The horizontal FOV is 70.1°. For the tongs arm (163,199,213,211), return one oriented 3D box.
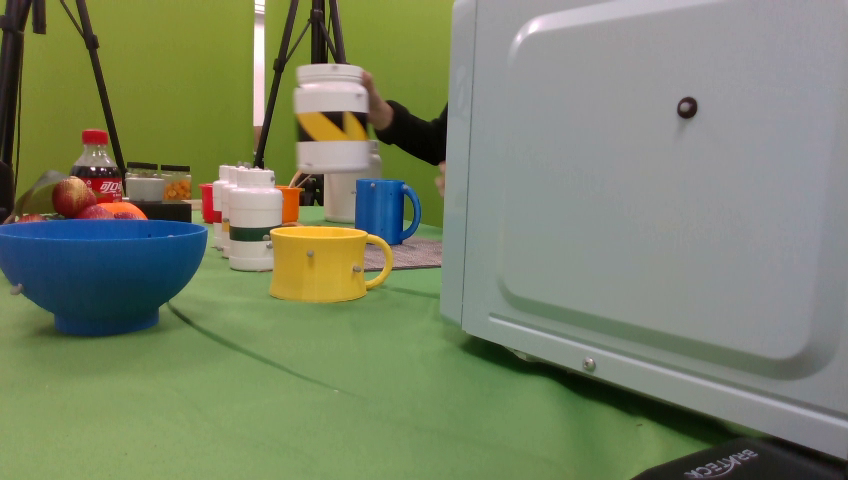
[{"bbox_3d":[-0.503,-0.090,1.513,0.028,0.028,0.389,-1,3,38],"label":"tongs arm"}]

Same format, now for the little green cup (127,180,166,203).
[{"bbox_3d":[-0.486,-0.086,1.061,0.061,0.038,0.061,2,7,0],"label":"little green cup"}]

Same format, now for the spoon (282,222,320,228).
[{"bbox_3d":[-0.227,-0.023,1.085,0.042,0.021,0.193,-24,18,-23],"label":"spoon"}]

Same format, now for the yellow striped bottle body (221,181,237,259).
[{"bbox_3d":[-0.244,-0.035,0.823,0.063,0.120,0.063,2,8,0],"label":"yellow striped bottle body"}]

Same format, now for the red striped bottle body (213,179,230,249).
[{"bbox_3d":[-0.283,-0.047,0.908,0.063,0.119,0.063,2,7,0],"label":"red striped bottle body"}]

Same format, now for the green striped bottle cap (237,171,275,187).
[{"bbox_3d":[-0.206,-0.074,0.738,0.044,0.020,0.044,1,9,0],"label":"green striped bottle cap"}]

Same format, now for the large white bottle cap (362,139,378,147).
[{"bbox_3d":[-0.160,-0.218,1.357,0.115,0.018,0.115,2,8,0],"label":"large white bottle cap"}]

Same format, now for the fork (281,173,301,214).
[{"bbox_3d":[-0.288,-0.116,1.320,0.028,0.019,0.207,-2,48,28],"label":"fork"}]

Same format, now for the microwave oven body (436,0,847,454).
[{"bbox_3d":[0.279,-0.040,0.464,0.444,0.260,0.324,-3,9,-41],"label":"microwave oven body"}]

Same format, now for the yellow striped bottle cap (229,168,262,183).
[{"bbox_3d":[-0.240,-0.087,0.816,0.044,0.018,0.044,-3,5,1],"label":"yellow striped bottle cap"}]

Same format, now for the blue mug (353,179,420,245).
[{"bbox_3d":[-0.061,-0.047,1.006,0.116,0.106,0.082,6,8,20],"label":"blue mug"}]

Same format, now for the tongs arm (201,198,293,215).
[{"bbox_3d":[-0.423,-0.084,1.473,0.050,0.026,0.386,1,6,21],"label":"tongs arm"}]

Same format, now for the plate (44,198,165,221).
[{"bbox_3d":[-0.617,-0.056,1.179,0.209,0.038,0.209,3,7,0],"label":"plate"}]

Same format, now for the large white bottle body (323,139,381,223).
[{"bbox_3d":[-0.163,-0.135,1.368,0.131,0.184,0.130,2,7,0],"label":"large white bottle body"}]

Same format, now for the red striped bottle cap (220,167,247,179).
[{"bbox_3d":[-0.281,-0.100,0.901,0.044,0.017,0.044,0,5,0],"label":"red striped bottle cap"}]

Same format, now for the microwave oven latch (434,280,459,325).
[{"bbox_3d":[0.044,0.045,0.470,0.079,0.029,0.030,-2,8,-39],"label":"microwave oven latch"}]

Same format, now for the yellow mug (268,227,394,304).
[{"bbox_3d":[-0.094,0.023,0.630,0.131,0.064,0.099,0,7,-22],"label":"yellow mug"}]

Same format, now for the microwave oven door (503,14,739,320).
[{"bbox_3d":[0.218,-0.065,0.600,0.358,0.243,0.039,-4,10,-41],"label":"microwave oven door"}]

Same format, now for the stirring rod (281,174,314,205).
[{"bbox_3d":[-0.278,-0.105,1.293,0.176,0.006,0.014,-47,24,-18],"label":"stirring rod"}]

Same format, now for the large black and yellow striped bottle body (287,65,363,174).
[{"bbox_3d":[-0.178,-0.214,1.093,0.131,0.184,0.130,-1,9,0],"label":"large black and yellow striped bottle body"}]

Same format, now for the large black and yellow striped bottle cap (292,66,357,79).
[{"bbox_3d":[-0.178,-0.297,1.081,0.115,0.019,0.115,-1,10,1],"label":"large black and yellow striped bottle cap"}]

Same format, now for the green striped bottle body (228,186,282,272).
[{"bbox_3d":[-0.208,-0.023,0.745,0.063,0.119,0.063,2,7,0],"label":"green striped bottle body"}]

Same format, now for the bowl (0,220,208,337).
[{"bbox_3d":[-0.251,0.029,0.479,0.151,0.077,0.151,2,7,0],"label":"bowl"}]
